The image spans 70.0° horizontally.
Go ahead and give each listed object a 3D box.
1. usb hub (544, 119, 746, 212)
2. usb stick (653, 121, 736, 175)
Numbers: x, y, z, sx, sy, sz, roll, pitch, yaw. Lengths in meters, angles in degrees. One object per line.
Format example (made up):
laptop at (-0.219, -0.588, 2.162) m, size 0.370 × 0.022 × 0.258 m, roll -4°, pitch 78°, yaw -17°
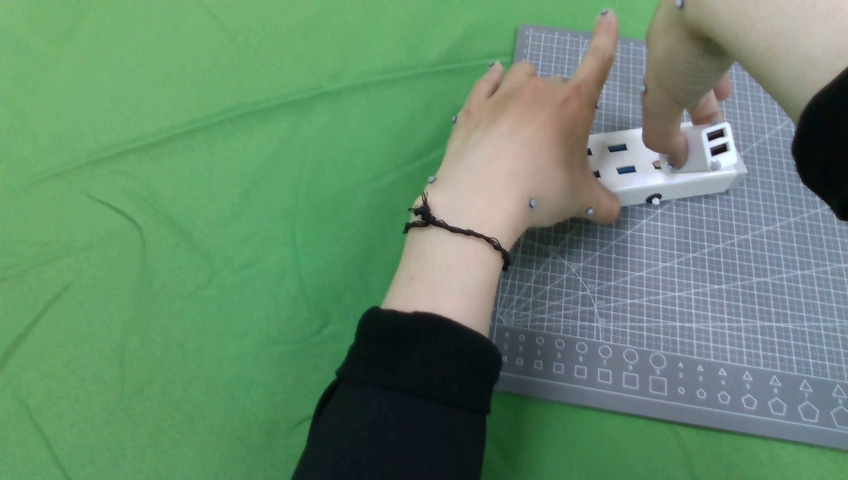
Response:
usb hub at (0.149, -0.052, 0.415) m, size 0.125 × 0.025 × 0.049 m, roll -7°, pitch 63°, yaw -7°
usb stick at (0.162, -0.055, 0.374) m, size 0.021 × 0.059 × 0.027 m, roll -24°, pitch 96°, yaw -11°
